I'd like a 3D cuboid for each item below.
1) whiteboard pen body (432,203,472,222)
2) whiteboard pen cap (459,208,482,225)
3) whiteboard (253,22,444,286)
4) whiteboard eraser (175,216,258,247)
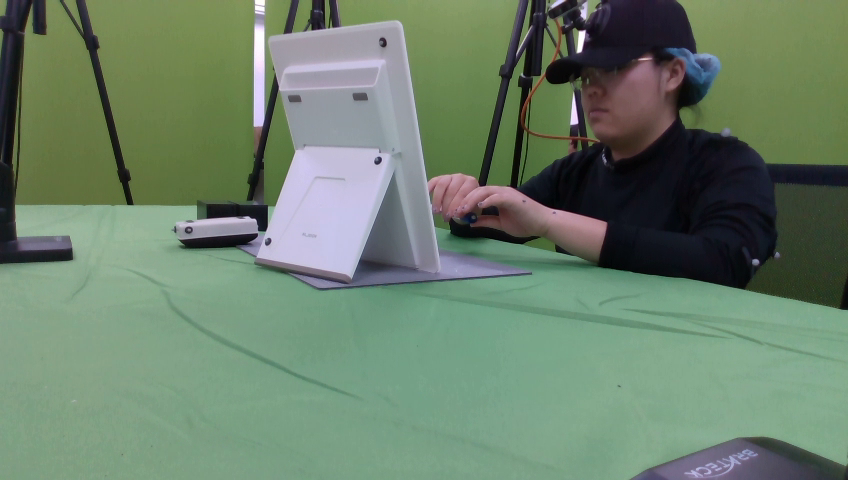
[{"bbox_3d":[0.043,-0.044,0.982,0.017,0.017,0.140,-1,11,-25],"label":"whiteboard pen body"},{"bbox_3d":[0.071,-0.035,0.929,0.033,0.018,0.018,28,15,16],"label":"whiteboard pen cap"},{"bbox_3d":[-0.125,-0.081,0.715,0.216,0.305,0.144,9,29,36],"label":"whiteboard"},{"bbox_3d":[-0.314,-0.012,0.915,0.113,0.042,0.055,-5,12,-30],"label":"whiteboard eraser"}]
